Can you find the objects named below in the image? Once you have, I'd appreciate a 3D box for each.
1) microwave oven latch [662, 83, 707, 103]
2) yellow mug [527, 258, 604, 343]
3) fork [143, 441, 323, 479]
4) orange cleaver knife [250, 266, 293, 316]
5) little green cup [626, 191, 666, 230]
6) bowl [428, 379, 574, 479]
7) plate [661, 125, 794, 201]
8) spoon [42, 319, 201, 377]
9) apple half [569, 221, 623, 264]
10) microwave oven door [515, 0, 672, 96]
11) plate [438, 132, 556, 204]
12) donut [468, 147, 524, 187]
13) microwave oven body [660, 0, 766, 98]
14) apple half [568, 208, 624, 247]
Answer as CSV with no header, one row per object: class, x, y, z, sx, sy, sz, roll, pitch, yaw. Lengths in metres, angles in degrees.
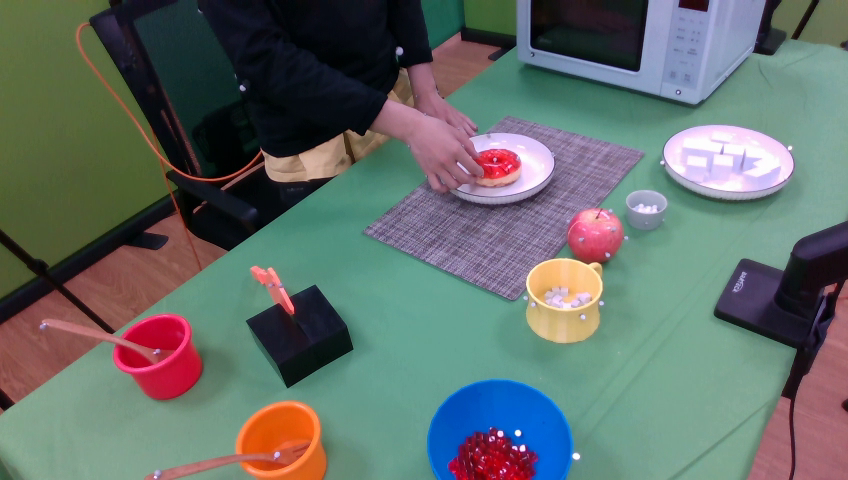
microwave oven latch,0.517,-0.296,1.204,0.078,0.029,0.030,27,52,35
yellow mug,0.201,0.073,0.825,0.131,0.064,0.099,-32,46,-27
fork,-0.189,0.231,0.631,0.028,0.018,0.209,36,13,37
orange cleaver knife,-0.221,0.071,0.873,0.012,0.077,0.210,-25,11,-21
little green cup,0.352,-0.046,0.963,0.061,0.039,0.061,-4,40,4
bowl,0.082,0.233,0.644,0.151,0.077,0.150,-4,39,4
plate,0.513,-0.128,1.035,0.207,0.039,0.206,-4,40,4
spoon,-0.385,0.135,0.779,0.195,0.021,0.041,29,37,-26
apple half,0.251,0.010,0.884,0.081,0.081,0.032,3,37,12
microwave oven door,0.343,-0.454,1.259,0.353,0.245,0.039,26,51,33
plate,0.130,-0.125,1.084,0.209,0.038,0.208,-4,40,4
donut,0.128,-0.132,1.075,0.099,0.048,0.098,-5,38,5
microwave oven body,0.472,-0.513,1.317,0.438,0.261,0.327,26,51,34
apple half,0.259,-0.014,0.914,0.080,0.075,0.053,0,36,15
